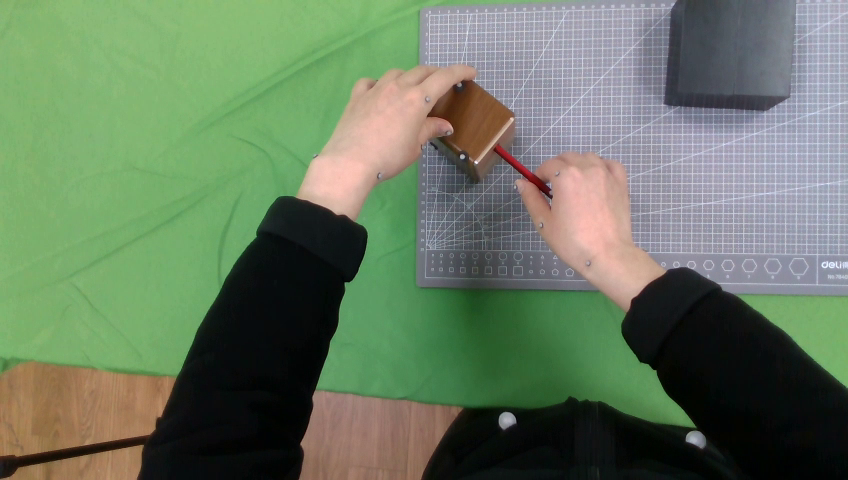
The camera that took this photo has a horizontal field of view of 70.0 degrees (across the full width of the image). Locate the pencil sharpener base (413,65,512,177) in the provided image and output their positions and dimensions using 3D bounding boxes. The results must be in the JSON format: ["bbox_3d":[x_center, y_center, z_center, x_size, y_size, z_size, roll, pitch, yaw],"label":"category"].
[{"bbox_3d":[0.038,-0.113,0.589,0.076,0.107,0.061,40,94,8],"label":"pencil sharpener base"}]

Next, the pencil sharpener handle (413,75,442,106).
[{"bbox_3d":[0.000,-0.149,0.582,0.030,0.068,0.036,40,106,8],"label":"pencil sharpener handle"}]

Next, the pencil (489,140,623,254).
[{"bbox_3d":[0.106,-0.052,0.557,0.194,0.012,0.012,40,93,3],"label":"pencil"}]
